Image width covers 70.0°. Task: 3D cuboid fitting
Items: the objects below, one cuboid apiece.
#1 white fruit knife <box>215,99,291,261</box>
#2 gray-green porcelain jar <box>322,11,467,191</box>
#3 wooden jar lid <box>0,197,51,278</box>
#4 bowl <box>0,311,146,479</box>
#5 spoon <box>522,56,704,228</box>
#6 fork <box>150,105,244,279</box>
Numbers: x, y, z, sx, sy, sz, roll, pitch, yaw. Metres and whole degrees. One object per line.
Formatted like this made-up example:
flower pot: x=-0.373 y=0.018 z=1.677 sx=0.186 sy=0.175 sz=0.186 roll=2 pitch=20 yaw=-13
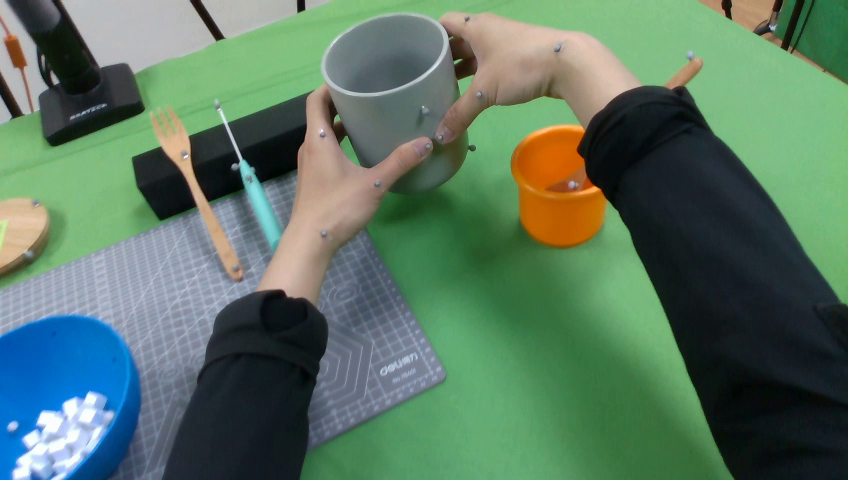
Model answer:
white fruit knife: x=-0.175 y=-0.067 z=0.599 sx=0.016 sy=0.027 sz=0.205 roll=-25 pitch=65 yaw=-12
gray-green porcelain jar: x=-0.019 y=-0.114 z=0.528 sx=0.106 sy=0.128 sz=0.105 roll=-6 pitch=52 yaw=8
wooden jar lid: x=-0.438 y=0.000 z=0.627 sx=0.108 sy=0.021 sz=0.107 roll=-3 pitch=50 yaw=4
bowl: x=-0.268 y=0.136 z=0.444 sx=0.151 sy=0.077 sz=0.150 roll=-4 pitch=50 yaw=6
spoon: x=0.156 y=-0.079 z=0.513 sx=0.022 sy=0.194 sz=0.041 roll=13 pitch=41 yaw=-41
fork: x=-0.220 y=-0.049 z=0.590 sx=0.028 sy=0.019 sz=0.206 roll=-25 pitch=69 yaw=-18
